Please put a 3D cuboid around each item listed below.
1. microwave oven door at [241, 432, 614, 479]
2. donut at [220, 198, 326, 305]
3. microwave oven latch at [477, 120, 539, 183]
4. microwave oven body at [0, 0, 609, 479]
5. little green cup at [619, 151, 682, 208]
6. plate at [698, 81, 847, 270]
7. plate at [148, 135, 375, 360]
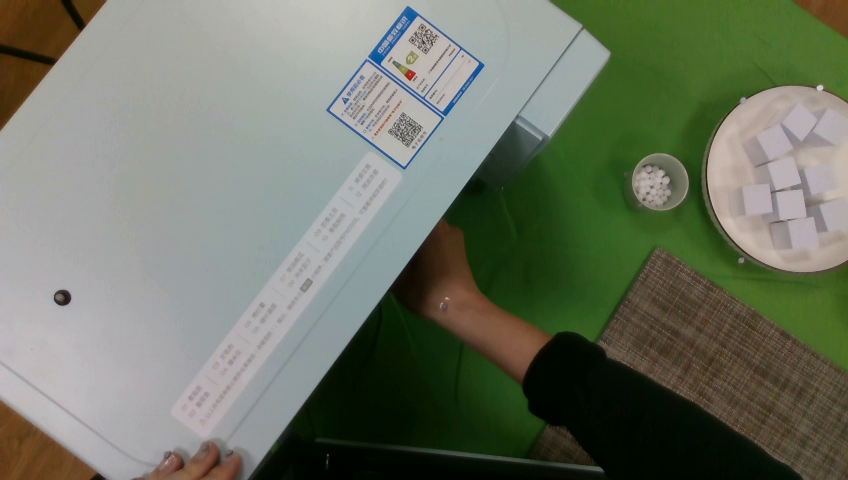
[{"bbox_3d":[0.028,0.225,0.512,0.356,0.244,0.039,6,85,-2],"label":"microwave oven door"},{"bbox_3d":[-0.138,0.011,0.557,0.099,0.048,0.099,0,92,2],"label":"donut"},{"bbox_3d":[0.089,-0.099,0.636,0.030,0.029,0.079,40,86,0],"label":"microwave oven latch"},{"bbox_3d":[-0.131,-0.051,0.525,0.326,0.260,0.441,37,86,0],"label":"microwave oven body"},{"bbox_3d":[0.244,-0.063,0.659,0.061,0.038,0.061,0,87,-1],"label":"little green cup"},{"bbox_3d":[0.401,-0.069,0.669,0.208,0.039,0.207,0,86,-3],"label":"plate"},{"bbox_3d":[-0.149,0.007,0.570,0.209,0.038,0.208,0,87,0],"label":"plate"}]
